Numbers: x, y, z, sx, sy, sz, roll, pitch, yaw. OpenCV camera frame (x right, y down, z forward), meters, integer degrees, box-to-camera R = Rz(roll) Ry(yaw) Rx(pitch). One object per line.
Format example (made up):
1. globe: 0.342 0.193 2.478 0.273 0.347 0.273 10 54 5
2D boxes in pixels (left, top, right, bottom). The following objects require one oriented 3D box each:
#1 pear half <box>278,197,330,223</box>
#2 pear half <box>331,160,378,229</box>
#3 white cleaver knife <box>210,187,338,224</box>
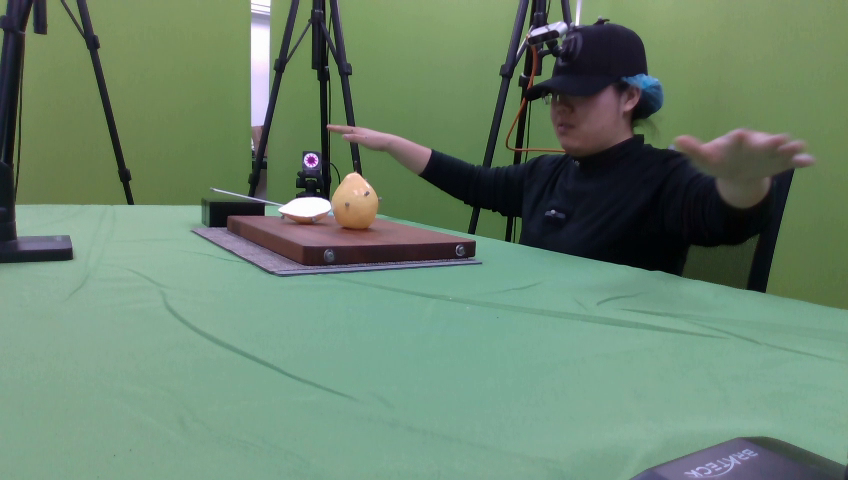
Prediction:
1. pear half: -0.204 -0.047 1.033 0.088 0.031 0.070 -13 27 -17
2. pear half: -0.106 -0.072 0.971 0.077 0.110 0.055 -9 13 -40
3. white cleaver knife: -0.286 -0.073 1.222 0.288 0.021 0.065 15 3 -28
